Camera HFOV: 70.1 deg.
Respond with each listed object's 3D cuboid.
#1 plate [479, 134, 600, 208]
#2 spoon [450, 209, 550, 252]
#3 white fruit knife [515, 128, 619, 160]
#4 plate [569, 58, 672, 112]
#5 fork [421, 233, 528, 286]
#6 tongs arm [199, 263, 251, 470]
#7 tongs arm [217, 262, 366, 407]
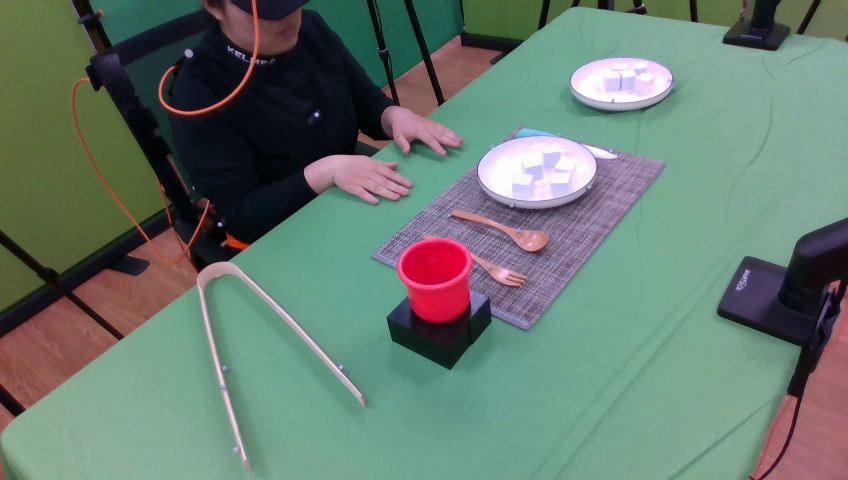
[{"bbox_3d":[0.202,-0.117,1.065,0.207,0.039,0.206,-5,40,5],"label":"plate"},{"bbox_3d":[0.119,-0.022,0.979,0.192,0.022,0.041,24,68,33],"label":"spoon"},{"bbox_3d":[0.269,-0.182,1.148,0.206,0.016,0.027,21,77,29],"label":"white fruit knife"},{"bbox_3d":[0.411,-0.323,1.274,0.209,0.038,0.208,-5,41,5],"label":"plate"},{"bbox_3d":[0.072,0.027,0.933,0.205,0.019,0.028,27,58,33],"label":"fork"},{"bbox_3d":[-0.270,0.154,0.840,0.051,0.026,0.381,-23,41,-17],"label":"tongs arm"},{"bbox_3d":[-0.200,0.122,0.871,0.028,0.028,0.384,-36,46,-24],"label":"tongs arm"}]
